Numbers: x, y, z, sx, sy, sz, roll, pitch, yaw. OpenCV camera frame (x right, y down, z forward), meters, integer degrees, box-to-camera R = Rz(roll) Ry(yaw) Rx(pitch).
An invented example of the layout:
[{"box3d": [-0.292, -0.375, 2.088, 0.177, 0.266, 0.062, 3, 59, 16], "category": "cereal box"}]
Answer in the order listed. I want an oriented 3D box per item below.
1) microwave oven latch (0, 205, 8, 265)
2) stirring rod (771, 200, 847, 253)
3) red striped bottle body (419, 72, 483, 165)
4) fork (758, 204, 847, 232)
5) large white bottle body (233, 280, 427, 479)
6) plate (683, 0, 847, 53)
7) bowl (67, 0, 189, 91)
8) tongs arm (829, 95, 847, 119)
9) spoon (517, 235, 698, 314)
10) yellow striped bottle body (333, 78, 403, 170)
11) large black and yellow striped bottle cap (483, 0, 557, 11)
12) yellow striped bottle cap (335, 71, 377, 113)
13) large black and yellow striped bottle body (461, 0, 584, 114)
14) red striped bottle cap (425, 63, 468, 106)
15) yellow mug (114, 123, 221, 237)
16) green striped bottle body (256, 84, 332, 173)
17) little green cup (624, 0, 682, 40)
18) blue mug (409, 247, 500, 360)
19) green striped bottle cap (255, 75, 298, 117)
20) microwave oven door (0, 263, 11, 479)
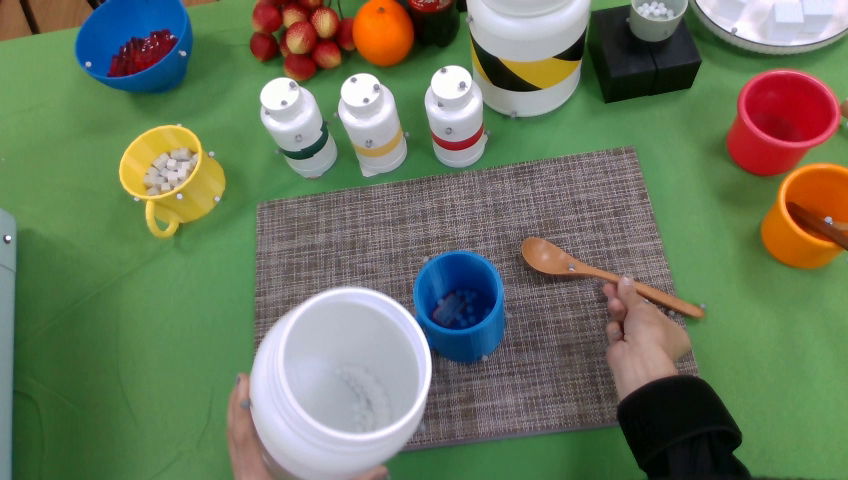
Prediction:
[{"box3d": [-0.511, -0.007, 0.712, 0.030, 0.030, 0.078, -15, 66, 0], "category": "microwave oven latch"}, {"box3d": [0.377, -0.007, 0.567, 0.014, 0.006, 0.175, -6, 23, 2], "category": "stirring rod"}, {"box3d": [0.031, -0.140, 0.677, 0.063, 0.121, 0.062, -4, 65, 9], "category": "red striped bottle body"}, {"box3d": [0.407, -0.010, 0.557, 0.028, 0.019, 0.205, -46, 25, -11], "category": "fork"}, {"box3d": [-0.078, 0.120, 0.483, 0.131, 0.185, 0.129, 11, 56, -16], "category": "large white bottle body"}, {"box3d": [0.421, -0.311, 0.747, 0.209, 0.038, 0.207, -2, 67, 6], "category": "plate"}, {"box3d": [-0.373, -0.252, 0.799, 0.151, 0.077, 0.150, -2, 66, 6], "category": "bowl"}, {"box3d": [0.602, -0.047, 0.611, 0.051, 0.027, 0.382, -41, 69, -15], "category": "tongs arm"}, {"box3d": [0.188, 0.038, 0.629, 0.193, 0.022, 0.041, 20, 51, 15], "category": "spoon"}, {"box3d": [-0.064, -0.136, 0.687, 0.063, 0.121, 0.062, -3, 65, 7], "category": "yellow striped bottle body"}, {"box3d": [0.099, -0.278, 0.599, 0.115, 0.019, 0.114, -4, 68, 9], "category": "large black and yellow striped bottle cap"}, {"box3d": [-0.072, -0.157, 0.640, 0.044, 0.019, 0.044, -1, 63, 2], "category": "yellow striped bottle cap"}, {"box3d": [0.109, -0.244, 0.677, 0.130, 0.185, 0.130, -3, 66, 6], "category": "large black and yellow striped bottle body"}, {"box3d": [0.023, -0.162, 0.630, 0.044, 0.018, 0.044, -1, 65, 3], "category": "red striped bottle cap"}, {"box3d": [-0.305, -0.066, 0.717, 0.100, 0.064, 0.130, 1, 67, 8], "category": "yellow mug"}, {"box3d": [-0.151, -0.133, 0.697, 0.063, 0.120, 0.062, -2, 66, 6], "category": "green striped bottle body"}, {"box3d": [0.258, -0.261, 0.690, 0.061, 0.039, 0.061, -2, 64, 4], "category": "little green cup"}, {"box3d": [0.019, 0.073, 0.590, 0.116, 0.107, 0.081, -32, 66, -7], "category": "blue mug"}, {"box3d": [-0.158, -0.154, 0.650, 0.044, 0.020, 0.044, -2, 65, 4], "category": "green striped bottle cap"}, {"box3d": [-0.467, 0.143, 0.530, 0.039, 0.246, 0.352, -17, 65, 0], "category": "microwave oven door"}]
